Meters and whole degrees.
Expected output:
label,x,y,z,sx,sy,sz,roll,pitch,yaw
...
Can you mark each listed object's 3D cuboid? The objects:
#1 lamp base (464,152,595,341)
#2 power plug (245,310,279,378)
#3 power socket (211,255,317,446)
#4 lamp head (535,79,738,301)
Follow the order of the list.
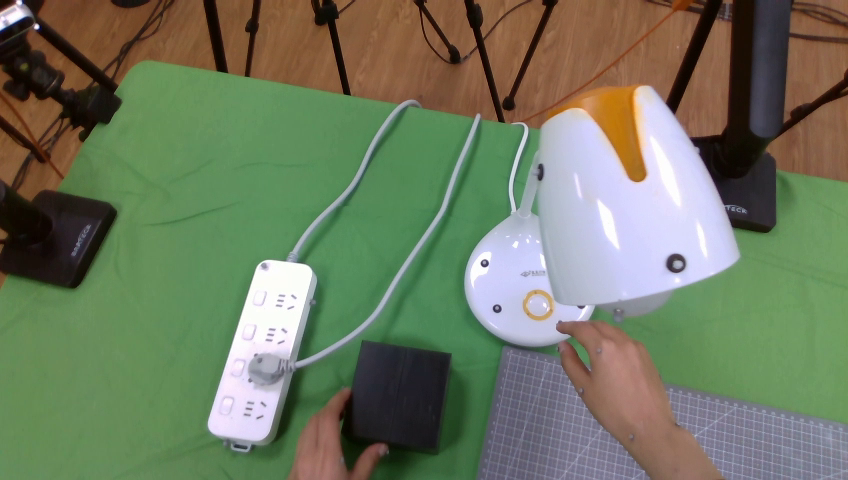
label,x,y,z,sx,sy,sz,roll,pitch,yaw
lamp base,0.121,0.000,0.666,0.161,0.182,0.177,-14,62,-4
power plug,-0.182,0.119,0.679,0.035,0.053,0.072,-1,58,-16
power socket,-0.182,0.120,0.703,0.072,0.033,0.225,8,64,5
lamp head,0.117,-0.034,0.373,0.112,0.112,0.123,-17,88,-5
